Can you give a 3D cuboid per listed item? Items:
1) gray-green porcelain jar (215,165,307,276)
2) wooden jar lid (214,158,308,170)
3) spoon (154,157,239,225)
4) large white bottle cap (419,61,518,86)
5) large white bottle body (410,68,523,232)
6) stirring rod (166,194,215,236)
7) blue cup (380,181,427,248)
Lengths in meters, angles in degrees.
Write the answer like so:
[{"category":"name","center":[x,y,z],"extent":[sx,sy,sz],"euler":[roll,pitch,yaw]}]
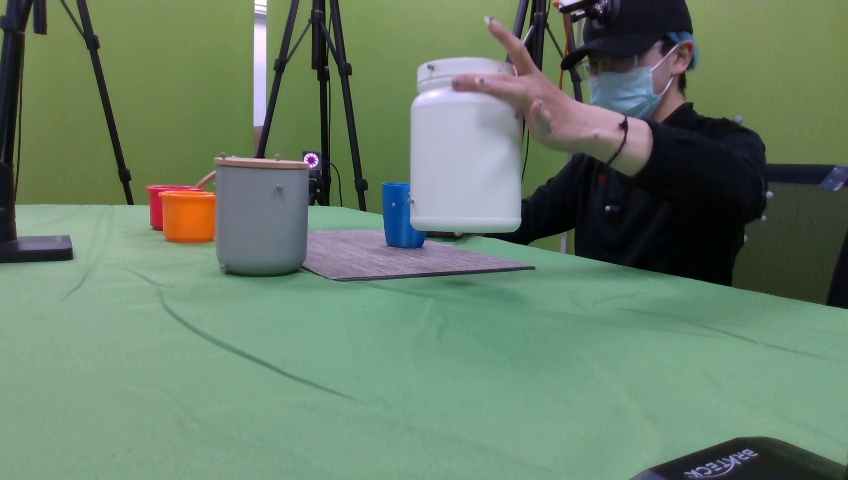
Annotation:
[{"category":"gray-green porcelain jar","center":[-0.195,-0.024,0.726],"extent":[0.106,0.126,0.106],"euler":[3,7,0]},{"category":"wooden jar lid","center":[-0.193,-0.085,0.719],"extent":[0.108,0.020,0.108],"euler":[2,9,0]},{"category":"spoon","center":[-0.411,-0.092,1.105],"extent":[0.041,0.022,0.194],"euler":[13,56,51]},{"category":"large white bottle cap","center":[0.050,-0.187,0.699],"extent":[0.115,0.018,0.115],"euler":[1,4,0]},{"category":"large white bottle body","center":[0.050,-0.103,0.706],"extent":[0.131,0.184,0.130],"euler":[1,4,0]},{"category":"stirring rod","center":[-0.341,-0.066,0.967],"extent":[0.176,0.006,0.014],"euler":[-42,23,-9]},{"category":"blue cup","center":[-0.029,-0.042,0.979],"extent":[0.093,0.100,0.092],"euler":[3,9,0]}]
